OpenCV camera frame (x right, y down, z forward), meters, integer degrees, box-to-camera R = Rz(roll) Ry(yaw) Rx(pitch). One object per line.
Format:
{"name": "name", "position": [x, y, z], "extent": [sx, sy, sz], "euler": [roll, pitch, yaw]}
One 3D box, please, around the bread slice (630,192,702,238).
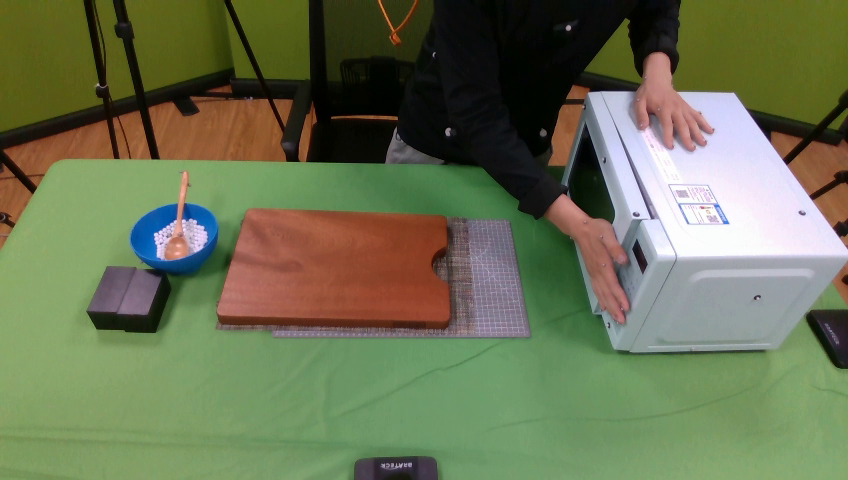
{"name": "bread slice", "position": [0.477, -0.050, 1.191], "extent": [0.131, 0.019, 0.104], "euler": [14, 45, 12]}

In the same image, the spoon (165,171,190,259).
{"name": "spoon", "position": [-0.452, -0.046, 1.129], "extent": [0.041, 0.022, 0.193], "euler": [-1, 69, -2]}

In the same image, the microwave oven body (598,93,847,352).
{"name": "microwave oven body", "position": [0.475, -0.042, 1.109], "extent": [0.326, 0.261, 0.438], "euler": [-1, 45, -4]}

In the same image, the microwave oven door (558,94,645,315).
{"name": "microwave oven door", "position": [0.319, -0.074, 1.123], "extent": [0.039, 0.245, 0.353], "euler": [2, 46, -3]}

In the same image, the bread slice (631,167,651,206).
{"name": "bread slice", "position": [0.460, -0.092, 1.138], "extent": [0.134, 0.018, 0.106], "euler": [7, 43, -15]}

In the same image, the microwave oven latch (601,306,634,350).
{"name": "microwave oven latch", "position": [0.331, 0.152, 1.044], "extent": [0.030, 0.029, 0.078], "euler": [-1, 45, -5]}

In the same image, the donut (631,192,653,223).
{"name": "donut", "position": [0.443, -0.062, 1.171], "extent": [0.099, 0.048, 0.098], "euler": [-6, 31, 4]}

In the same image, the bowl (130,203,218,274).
{"name": "bowl", "position": [-0.450, 0.010, 1.116], "extent": [0.151, 0.077, 0.150], "euler": [3, 45, -3]}
